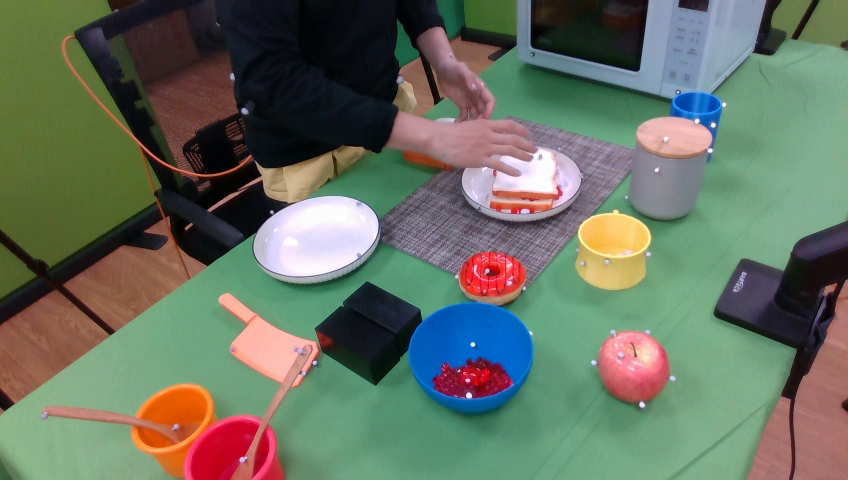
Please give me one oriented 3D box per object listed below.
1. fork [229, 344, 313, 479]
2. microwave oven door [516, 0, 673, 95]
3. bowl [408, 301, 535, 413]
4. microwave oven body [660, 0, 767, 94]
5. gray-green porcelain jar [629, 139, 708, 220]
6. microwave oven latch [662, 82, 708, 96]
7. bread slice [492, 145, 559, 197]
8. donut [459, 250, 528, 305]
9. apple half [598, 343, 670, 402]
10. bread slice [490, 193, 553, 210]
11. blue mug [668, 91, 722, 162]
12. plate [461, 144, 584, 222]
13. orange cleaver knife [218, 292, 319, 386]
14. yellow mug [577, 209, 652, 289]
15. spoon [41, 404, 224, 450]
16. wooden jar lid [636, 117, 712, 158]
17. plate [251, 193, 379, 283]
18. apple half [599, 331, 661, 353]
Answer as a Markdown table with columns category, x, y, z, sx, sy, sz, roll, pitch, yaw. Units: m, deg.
| category | x | y | z | sx | sy | sz | roll | pitch | yaw |
| --- | --- | --- | --- | --- | --- | --- | --- | --- | --- |
| fork | -0.173 | 0.205 | 0.662 | 0.028 | 0.019 | 0.207 | 29 | 94 | 36 |
| microwave oven door | 0.344 | -0.458 | 1.257 | 0.353 | 0.245 | 0.039 | 26 | 52 | 33 |
| bowl | 0.060 | 0.156 | 0.739 | 0.151 | 0.077 | 0.150 | -4 | 40 | 4 |
| microwave oven body | 0.473 | -0.516 | 1.313 | 0.438 | 0.261 | 0.327 | 26 | 51 | 34 |
| gray-green porcelain jar | 0.383 | -0.104 | 0.958 | 0.106 | 0.127 | 0.105 | -4 | 41 | 4 |
| microwave oven latch | 0.518 | -0.298 | 1.203 | 0.078 | 0.029 | 0.030 | 29 | 53 | 35 |
| bread slice | 0.172 | -0.119 | 1.027 | 0.107 | 0.018 | 0.134 | 3 | 42 | 6 |
| donut | 0.100 | 0.053 | 0.873 | 0.099 | 0.048 | 0.098 | -4 | 40 | 4 |
| apple half | 0.247 | 0.161 | 0.710 | 0.081 | 0.075 | 0.053 | 2 | 47 | 5 |
| bread slice | 0.172 | -0.099 | 1.047 | 0.104 | 0.019 | 0.131 | 3 | 42 | 11 |
| blue mug | 0.474 | -0.207 | 1.078 | 0.082 | 0.106 | 0.116 | 4 | 42 | 13 |
| plate | 0.167 | -0.095 | 1.040 | 0.207 | 0.039 | 0.206 | -4 | 41 | 4 |
| orange cleaver knife | -0.235 | 0.136 | 0.850 | 0.209 | 0.012 | 0.077 | 25 | 57 | 30 |
| yellow mug | 0.279 | 0.004 | 0.893 | 0.099 | 0.064 | 0.130 | 5 | 41 | 15 |
| spoon | -0.321 | 0.206 | 0.681 | 0.195 | 0.021 | 0.041 | 27 | 27 | -33 |
| wooden jar lid | 0.377 | -0.151 | 0.917 | 0.108 | 0.021 | 0.108 | -2 | 42 | 3 |
| plate | -0.174 | -0.001 | 0.984 | 0.209 | 0.038 | 0.208 | -4 | 41 | 4 |
| apple half | 0.249 | 0.134 | 0.738 | 0.081 | 0.081 | 0.032 | -1 | 46 | 7 |
